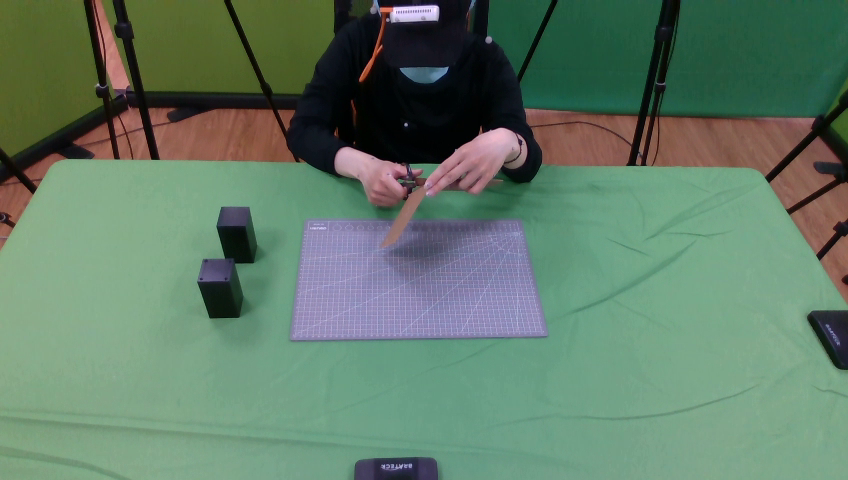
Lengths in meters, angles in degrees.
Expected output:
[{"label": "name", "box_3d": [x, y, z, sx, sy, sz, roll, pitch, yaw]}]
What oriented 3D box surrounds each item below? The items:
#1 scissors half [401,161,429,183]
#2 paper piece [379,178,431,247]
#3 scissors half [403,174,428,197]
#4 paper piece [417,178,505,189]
[{"label": "scissors half", "box_3d": [-0.018, -0.128, 1.165, 0.013, 0.040, 0.174, -11, 15, -15]}, {"label": "paper piece", "box_3d": [-0.038, -0.050, 1.117, 0.004, 0.135, 0.135, 32, 78, -12]}, {"label": "scissors half", "box_3d": [-0.016, -0.108, 1.167, 0.013, 0.175, 0.040, -5, 86, -15]}, {"label": "paper piece", "box_3d": [0.067, -0.108, 1.154, 0.138, 0.135, 0.008, 1, 91, -16]}]
